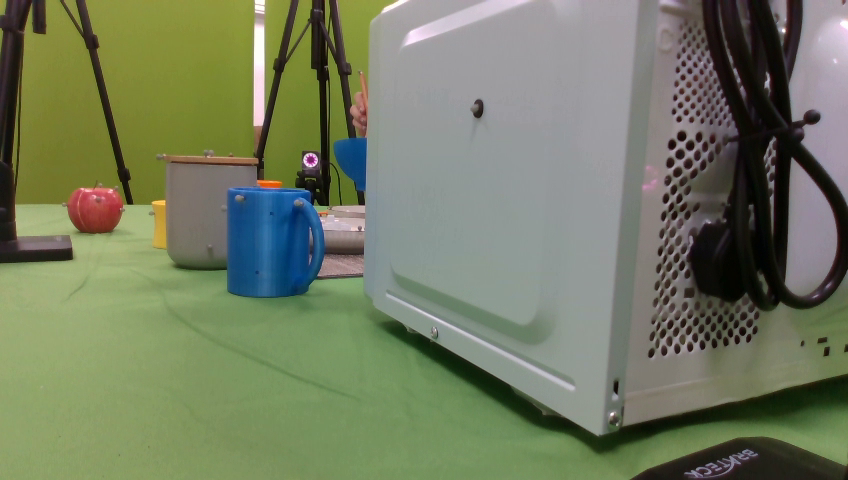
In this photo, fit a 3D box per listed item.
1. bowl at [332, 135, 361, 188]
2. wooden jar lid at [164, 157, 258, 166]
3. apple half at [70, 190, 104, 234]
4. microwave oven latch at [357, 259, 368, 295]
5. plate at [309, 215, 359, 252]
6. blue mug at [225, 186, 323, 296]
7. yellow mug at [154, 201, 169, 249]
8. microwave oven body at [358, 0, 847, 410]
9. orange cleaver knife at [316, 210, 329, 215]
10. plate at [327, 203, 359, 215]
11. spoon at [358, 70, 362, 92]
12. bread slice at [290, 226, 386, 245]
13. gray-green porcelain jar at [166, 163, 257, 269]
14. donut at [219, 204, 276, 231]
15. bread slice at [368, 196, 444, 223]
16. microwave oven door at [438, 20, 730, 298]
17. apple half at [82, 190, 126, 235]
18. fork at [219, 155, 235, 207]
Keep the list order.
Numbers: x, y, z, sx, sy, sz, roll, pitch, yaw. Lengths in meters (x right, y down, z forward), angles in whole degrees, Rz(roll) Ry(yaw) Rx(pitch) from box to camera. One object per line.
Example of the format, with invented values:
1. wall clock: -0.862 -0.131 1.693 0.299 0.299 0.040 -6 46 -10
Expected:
1. bowl: -0.078 -0.127 1.016 0.151 0.076 0.151 -1 0 0
2. wooden jar lid: -0.261 -0.093 0.746 0.108 0.020 0.108 0 9 0
3. apple half: -0.552 -0.047 1.010 0.053 0.074 0.081 -1 9 26
4. microwave oven latch: -0.019 0.031 0.529 0.079 0.029 0.030 -1 7 -26
5. plate: -0.130 -0.011 0.945 0.208 0.039 0.207 2 8 0
6. blue mug: -0.148 0.000 0.618 0.116 0.106 0.083 7 9 33
7. yellow mug: -0.337 -0.022 0.899 0.130 0.064 0.100 7 9 34
8. microwave oven body: 0.210 -0.051 0.471 0.444 0.260 0.324 -1 7 -28
9. orange cleaver knife: -0.259 -0.064 1.423 0.212 0.012 0.077 -4 3 -30
10. plate: -0.102 -0.053 1.299 0.209 0.038 0.209 2 8 0
11. spoon: -0.100 -0.210 1.056 0.021 0.193 0.042 -12 -15 31
12. bread slice: -0.124 -0.008 0.938 0.131 0.019 0.105 4 8 32
13. gray-green porcelain jar: -0.263 -0.031 0.754 0.106 0.126 0.106 2 7 0
14. donut: -0.316 -0.039 1.083 0.099 0.048 0.099 3 6 0
15. bread slice: -0.040 -0.057 1.141 0.107 0.018 0.133 -8 -8 -39
16. microwave oven door: 0.181 -0.076 0.618 0.358 0.243 0.039 -2 8 -28
17. apple half: -0.516 -0.046 0.994 0.032 0.081 0.081 0 6 26
18. fork: -0.459 -0.134 1.415 0.028 0.018 0.207 -1 -34 -25
